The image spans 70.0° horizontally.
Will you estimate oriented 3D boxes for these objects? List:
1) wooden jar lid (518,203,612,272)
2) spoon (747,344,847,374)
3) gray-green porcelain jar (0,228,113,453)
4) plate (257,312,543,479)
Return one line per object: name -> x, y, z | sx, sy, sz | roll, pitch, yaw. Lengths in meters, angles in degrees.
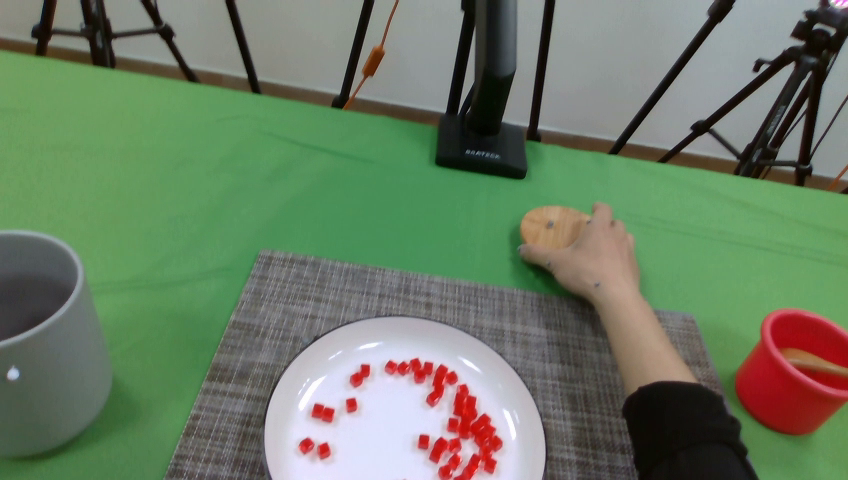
wooden jar lid -> 0.158, -0.002, 0.684 | 0.108, 0.021, 0.107 | 8, 41, -7
spoon -> 0.364, 0.107, 0.506 | 0.042, 0.021, 0.192 | -10, 6, -30
gray-green porcelain jar -> -0.275, 0.072, 0.409 | 0.106, 0.127, 0.105 | 7, 41, -6
plate -> -0.017, 0.143, 0.455 | 0.208, 0.039, 0.205 | 7, 41, -6
